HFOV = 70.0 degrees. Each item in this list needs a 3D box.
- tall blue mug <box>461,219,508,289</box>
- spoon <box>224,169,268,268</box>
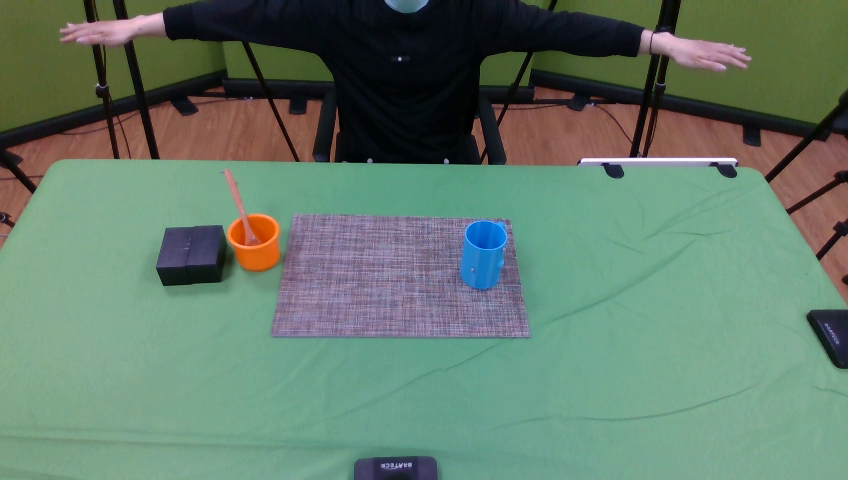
[{"bbox_3d":[0.111,0.015,1.122,0.078,0.108,0.106,6,46,4],"label":"tall blue mug"},{"bbox_3d":[-0.333,-0.040,1.124,0.041,0.194,0.021,-18,6,-18],"label":"spoon"}]
